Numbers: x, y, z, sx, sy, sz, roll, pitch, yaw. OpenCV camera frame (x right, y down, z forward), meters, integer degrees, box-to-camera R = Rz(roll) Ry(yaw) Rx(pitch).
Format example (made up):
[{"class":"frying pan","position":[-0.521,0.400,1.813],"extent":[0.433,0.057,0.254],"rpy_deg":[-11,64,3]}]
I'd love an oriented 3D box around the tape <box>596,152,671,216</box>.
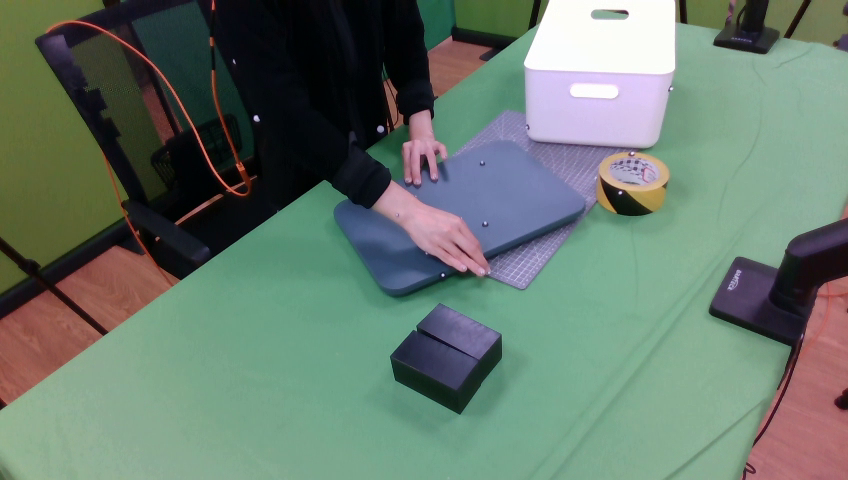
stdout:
[{"class":"tape","position":[0.349,-0.095,1.009],"extent":[0.117,0.053,0.116],"rpy_deg":[-3,42,3]}]

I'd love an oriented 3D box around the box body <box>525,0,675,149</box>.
[{"class":"box body","position":[0.356,-0.342,1.212],"extent":[0.253,0.161,0.363],"rpy_deg":[7,42,17]}]

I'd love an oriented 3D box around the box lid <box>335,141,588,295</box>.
[{"class":"box lid","position":[0.054,-0.052,1.012],"extent":[0.373,0.015,0.261],"rpy_deg":[-23,42,-16]}]
